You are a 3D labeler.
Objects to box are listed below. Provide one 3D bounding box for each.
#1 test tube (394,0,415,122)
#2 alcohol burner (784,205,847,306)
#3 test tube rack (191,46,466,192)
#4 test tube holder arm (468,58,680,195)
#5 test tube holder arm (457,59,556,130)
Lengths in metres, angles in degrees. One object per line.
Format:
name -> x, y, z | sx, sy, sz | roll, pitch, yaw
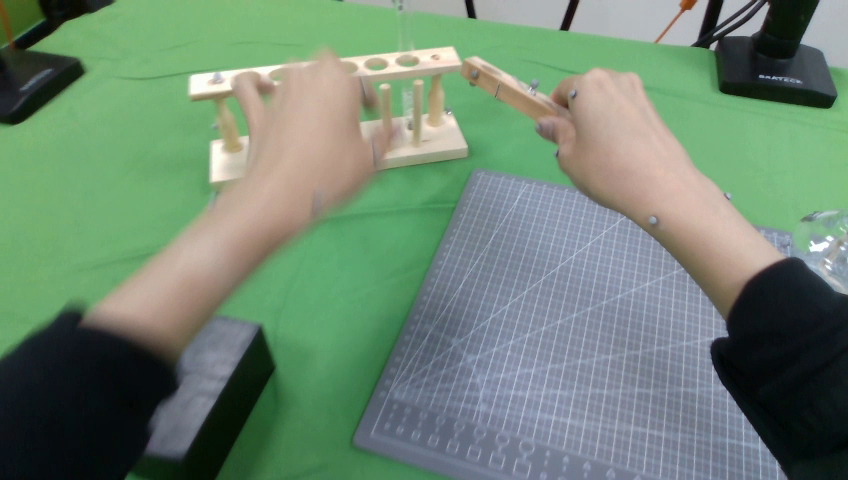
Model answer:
test tube -> -0.018, -0.177, 0.562 | 0.017, 0.151, 0.017 | -1, 43, 1
alcohol burner -> 0.318, -0.007, 0.446 | 0.078, 0.120, 0.077 | 1, 45, -1
test tube rack -> -0.083, -0.116, 0.572 | 0.243, 0.086, 0.066 | -9, 47, -9
test tube holder arm -> 0.095, -0.082, 0.415 | 0.177, 0.015, 0.013 | 37, 48, 26
test tube holder arm -> 0.059, -0.104, 0.431 | 0.087, 0.015, 0.010 | 37, 48, 26
